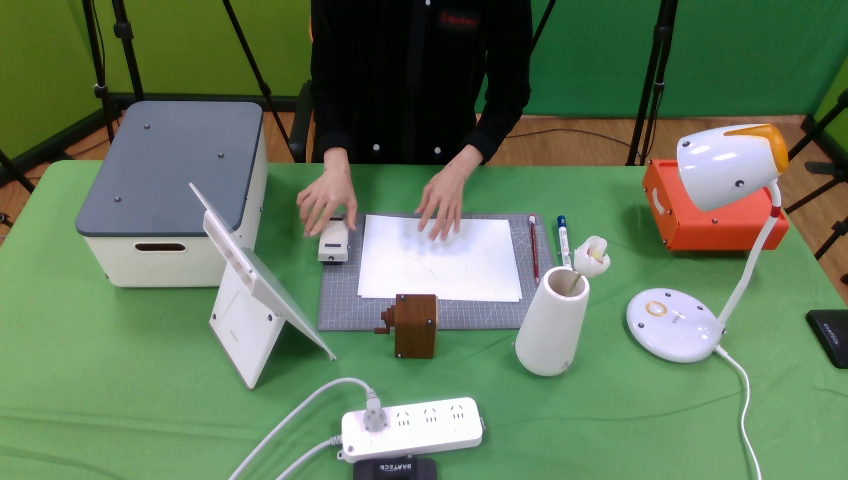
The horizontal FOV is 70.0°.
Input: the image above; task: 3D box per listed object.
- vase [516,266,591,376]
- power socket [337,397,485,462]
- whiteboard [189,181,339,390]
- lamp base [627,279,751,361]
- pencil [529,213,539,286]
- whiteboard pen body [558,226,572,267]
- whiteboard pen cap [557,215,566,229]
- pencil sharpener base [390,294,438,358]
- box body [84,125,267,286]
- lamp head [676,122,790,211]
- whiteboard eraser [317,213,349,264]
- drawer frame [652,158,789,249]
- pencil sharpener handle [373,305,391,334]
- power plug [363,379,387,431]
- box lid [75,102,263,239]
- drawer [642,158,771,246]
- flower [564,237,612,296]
[{"bbox_3d":[0.208,0.132,0.964,0.098,0.201,0.097,3,46,-3],"label":"vase"},{"bbox_3d":[-0.018,0.285,0.915,0.227,0.033,0.071,-5,46,-8],"label":"power socket"},{"bbox_3d":[-0.292,0.096,0.929,0.144,0.307,0.216,-37,57,-10],"label":"whiteboard"},{"bbox_3d":[0.459,0.100,1.027,0.178,0.181,0.160,27,51,17],"label":"lamp base"},{"bbox_3d":[0.220,0.016,1.204,0.012,0.012,0.193,5,47,0],"label":"pencil"},{"bbox_3d":[0.280,0.010,1.208,0.017,0.017,0.140,3,50,-1],"label":"whiteboard pen body"},{"bbox_3d":[0.284,-0.035,1.246,0.018,0.018,0.033,4,52,-1],"label":"whiteboard pen cap"},{"bbox_3d":[-0.018,0.143,1.000,0.077,0.107,0.061,1,46,-2],"label":"pencil sharpener base"},{"bbox_3d":[-0.446,-0.088,1.150,0.254,0.161,0.361,-1,46,-5],"label":"box body"},{"bbox_3d":[0.423,-0.104,0.819,0.122,0.113,0.112,-13,33,40],"label":"lamp head"},{"bbox_3d":[-0.175,-0.003,1.169,0.055,0.042,0.112,-1,46,-3],"label":"whiteboard eraser"},{"bbox_3d":[0.571,-0.075,1.214,0.214,0.083,0.200,0,45,-1],"label":"drawer frame"},{"bbox_3d":[-0.069,0.133,0.989,0.030,0.068,0.036,1,47,-2],"label":"pencil sharpener handle"},{"bbox_3d":[-0.072,0.252,0.910,0.035,0.053,0.072,3,45,-1],"label":"power plug"},{"bbox_3d":[-0.443,-0.138,1.094,0.263,0.015,0.369,-1,47,-5],"label":"box lid"},{"bbox_3d":[0.565,-0.076,1.211,0.212,0.073,0.193,2,45,-2],"label":"drawer"},{"bbox_3d":[0.206,0.088,0.893,0.038,0.363,0.044,-17,67,-9],"label":"flower"}]
